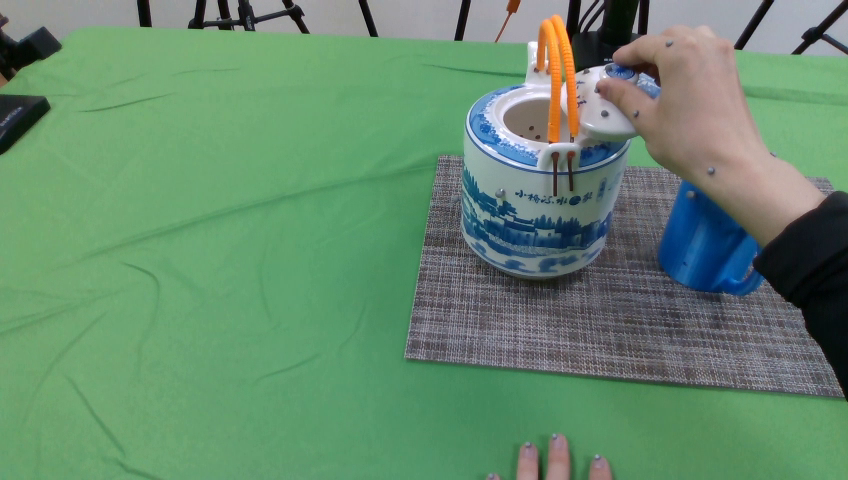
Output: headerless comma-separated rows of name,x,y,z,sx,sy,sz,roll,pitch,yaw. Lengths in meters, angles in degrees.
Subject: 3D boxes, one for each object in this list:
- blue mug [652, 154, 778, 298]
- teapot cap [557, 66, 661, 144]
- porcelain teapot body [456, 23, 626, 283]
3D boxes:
blue mug,0.269,-0.003,0.553,0.082,0.107,0.115,-8,44,-7
teapot cap,0.146,-0.113,0.480,0.085,0.044,0.084,0,49,0
porcelain teapot body,0.103,-0.098,0.566,0.145,0.227,0.203,-1,43,0
